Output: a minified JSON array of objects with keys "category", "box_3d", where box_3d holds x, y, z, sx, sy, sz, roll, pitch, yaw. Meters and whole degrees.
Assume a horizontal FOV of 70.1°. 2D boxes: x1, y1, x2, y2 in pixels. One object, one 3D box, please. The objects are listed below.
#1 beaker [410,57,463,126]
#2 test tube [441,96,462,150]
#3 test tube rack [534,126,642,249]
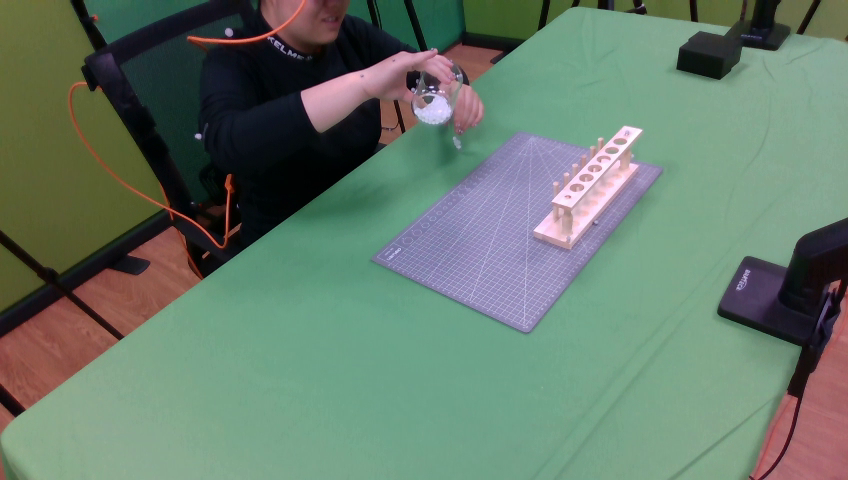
[{"category":"beaker","box_3d":[0.021,-0.239,0.991,0.074,0.084,0.100,0,44,16]},{"category":"test tube","box_3d":[0.052,-0.211,1.114,0.017,0.151,0.017,-5,63,11]},{"category":"test tube rack","box_3d":[0.271,-0.095,0.990,0.066,0.085,0.243,23,49,33]}]
